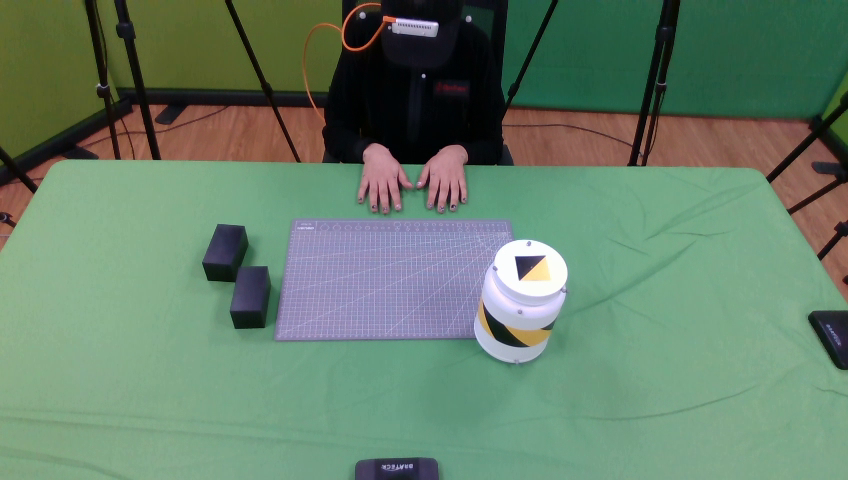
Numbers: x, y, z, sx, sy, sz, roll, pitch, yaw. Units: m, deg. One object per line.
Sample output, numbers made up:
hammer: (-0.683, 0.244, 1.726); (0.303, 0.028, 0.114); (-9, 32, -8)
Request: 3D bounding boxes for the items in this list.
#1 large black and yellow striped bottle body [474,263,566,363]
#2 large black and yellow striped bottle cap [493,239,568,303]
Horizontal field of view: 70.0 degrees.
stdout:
large black and yellow striped bottle body: (0.157, 0.103, 0.994); (0.131, 0.185, 0.130); (3, 48, -3)
large black and yellow striped bottle cap: (0.163, 0.045, 0.932); (0.115, 0.019, 0.114); (3, 49, -3)
